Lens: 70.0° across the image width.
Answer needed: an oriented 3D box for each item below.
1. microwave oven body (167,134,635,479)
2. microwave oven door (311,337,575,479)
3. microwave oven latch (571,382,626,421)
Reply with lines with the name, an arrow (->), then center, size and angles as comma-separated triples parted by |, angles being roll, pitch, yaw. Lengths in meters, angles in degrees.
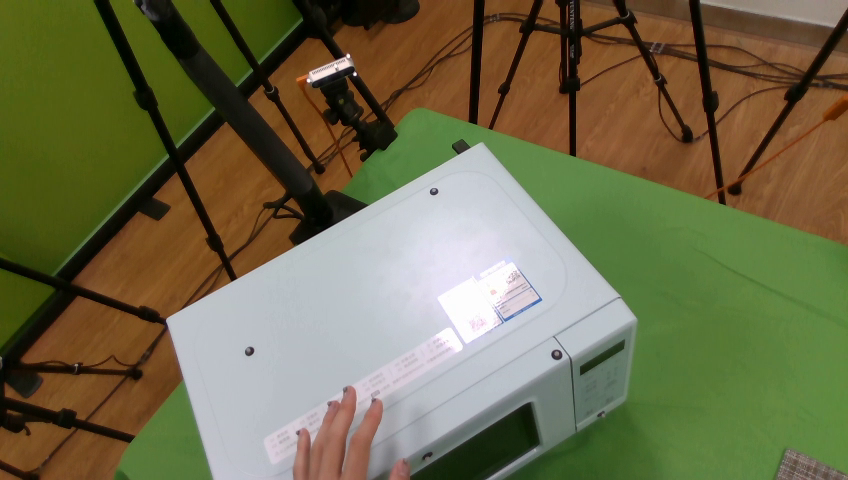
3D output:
microwave oven body -> -0.025, 0.133, 0.754 | 0.442, 0.263, 0.322 | -30, 55, -5
microwave oven door -> 0.004, 0.249, 0.662 | 0.356, 0.246, 0.039 | -30, 54, -6
microwave oven latch -> 0.217, 0.197, 0.767 | 0.079, 0.030, 0.030 | -29, 55, -4
